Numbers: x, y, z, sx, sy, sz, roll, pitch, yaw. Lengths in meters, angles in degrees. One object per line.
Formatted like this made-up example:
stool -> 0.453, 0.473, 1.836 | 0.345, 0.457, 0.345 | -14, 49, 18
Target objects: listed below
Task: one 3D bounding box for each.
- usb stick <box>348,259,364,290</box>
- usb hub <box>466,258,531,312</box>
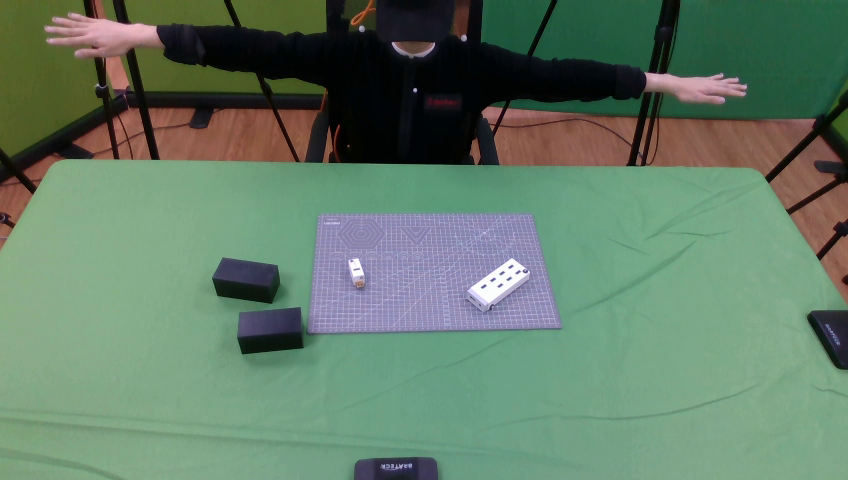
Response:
usb stick -> -0.124, 0.064, 1.120 | 0.021, 0.027, 0.059 | -9, 50, -17
usb hub -> 0.139, 0.083, 1.121 | 0.125, 0.025, 0.049 | -32, 56, -29
